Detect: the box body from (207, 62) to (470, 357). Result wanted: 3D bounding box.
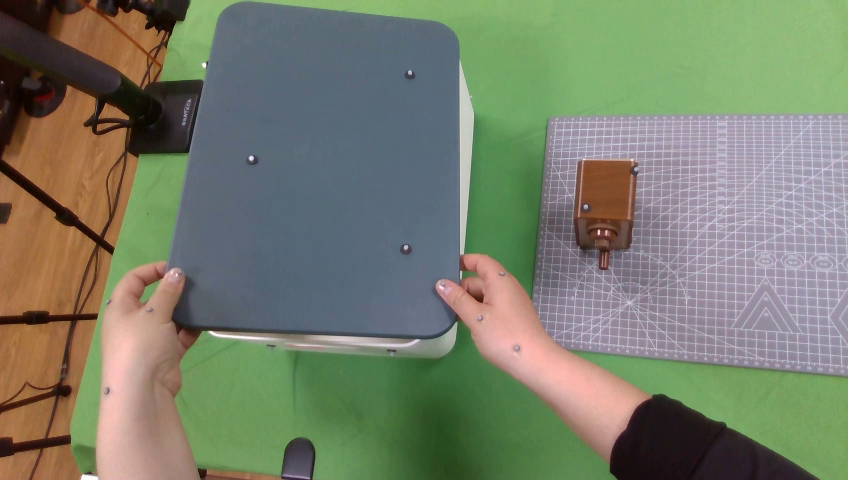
[{"bbox_3d":[-0.085,-0.046,0.733,0.253,0.161,0.362,0,73,15],"label":"box body"}]

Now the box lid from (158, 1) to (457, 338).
[{"bbox_3d":[-0.098,-0.087,0.601,0.264,0.015,0.368,3,66,-7],"label":"box lid"}]

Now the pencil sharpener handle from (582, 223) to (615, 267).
[{"bbox_3d":[0.190,0.006,0.653,0.036,0.068,0.030,0,73,26],"label":"pencil sharpener handle"}]

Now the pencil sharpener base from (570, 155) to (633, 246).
[{"bbox_3d":[0.198,-0.039,0.679,0.061,0.108,0.076,3,74,17],"label":"pencil sharpener base"}]
